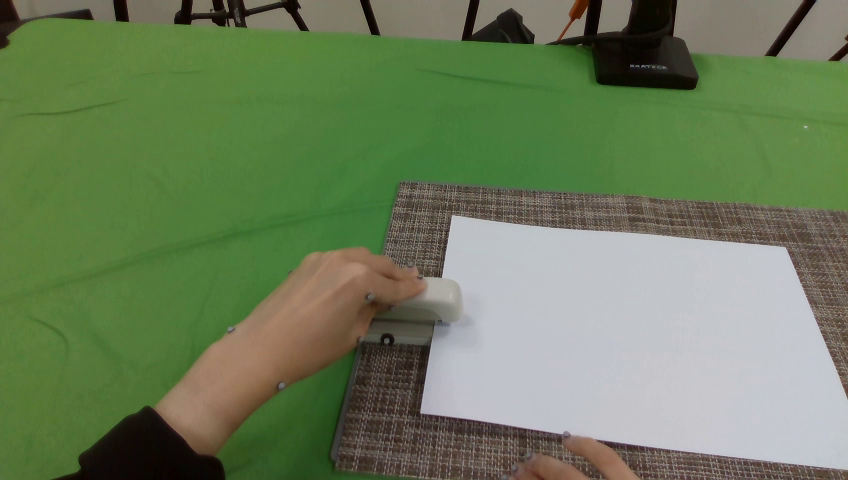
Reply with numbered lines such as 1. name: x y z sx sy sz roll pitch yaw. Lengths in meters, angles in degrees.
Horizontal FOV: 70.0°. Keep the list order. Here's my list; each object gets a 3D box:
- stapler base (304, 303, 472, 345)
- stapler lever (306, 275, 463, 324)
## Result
1. stapler base: -0.028 0.055 0.471 0.130 0.024 0.041 2 42 5
2. stapler lever: -0.029 0.042 0.457 0.118 0.040 0.026 7 43 1
